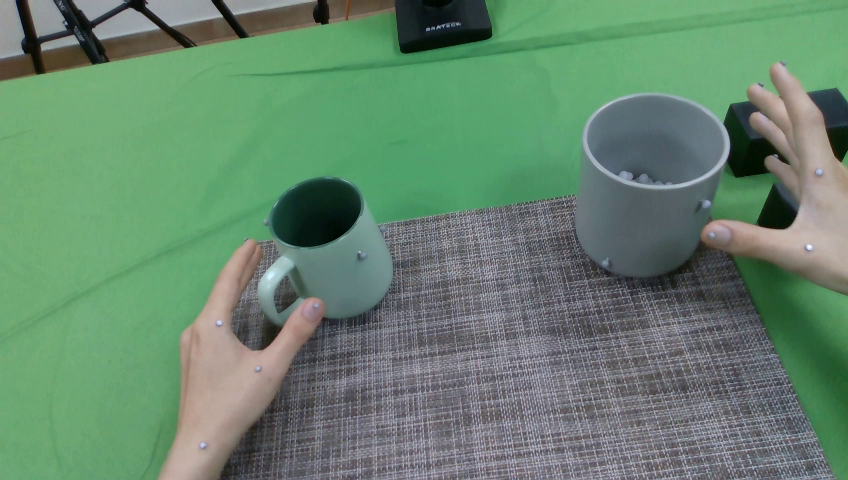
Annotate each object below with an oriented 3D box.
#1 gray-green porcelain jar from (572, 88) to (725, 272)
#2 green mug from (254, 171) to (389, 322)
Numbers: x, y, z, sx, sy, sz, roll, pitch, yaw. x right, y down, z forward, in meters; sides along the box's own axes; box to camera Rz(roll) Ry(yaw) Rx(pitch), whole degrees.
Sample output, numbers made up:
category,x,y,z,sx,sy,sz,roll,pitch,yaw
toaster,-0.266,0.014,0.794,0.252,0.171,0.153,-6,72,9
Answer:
category,x,y,z,sx,sy,sz,roll,pitch,yaw
gray-green porcelain jar,0.178,-0.043,0.501,0.106,0.128,0.105,-5,52,7
green mug,-0.092,0.016,0.516,0.092,0.106,0.125,27,62,26
